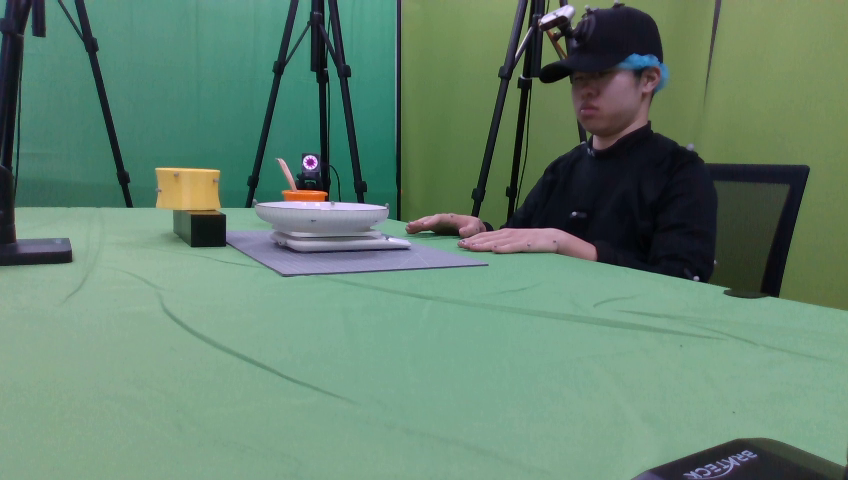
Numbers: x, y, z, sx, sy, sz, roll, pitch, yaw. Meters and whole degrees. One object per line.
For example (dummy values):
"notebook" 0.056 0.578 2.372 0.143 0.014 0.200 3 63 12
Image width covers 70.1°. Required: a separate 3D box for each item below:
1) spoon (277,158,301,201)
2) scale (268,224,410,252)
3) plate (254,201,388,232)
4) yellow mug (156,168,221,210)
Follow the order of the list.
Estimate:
"spoon" -0.272 -0.103 1.260 0.042 0.193 0.021 -5 -34 -33
"scale" -0.137 -0.006 0.980 0.202 0.031 0.148 -1 8 -30
"plate" -0.161 -0.038 0.961 0.209 0.038 0.209 2 6 0
"yellow mug" -0.395 -0.088 1.025 0.100 0.064 0.130 2 7 -9
